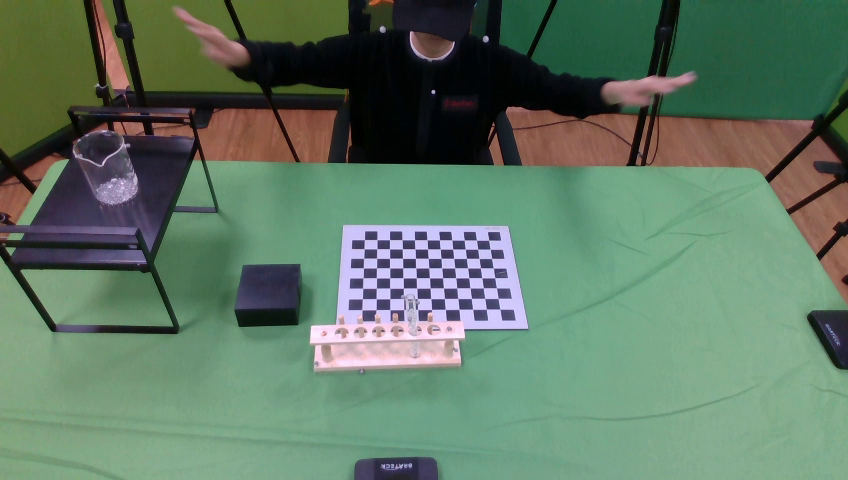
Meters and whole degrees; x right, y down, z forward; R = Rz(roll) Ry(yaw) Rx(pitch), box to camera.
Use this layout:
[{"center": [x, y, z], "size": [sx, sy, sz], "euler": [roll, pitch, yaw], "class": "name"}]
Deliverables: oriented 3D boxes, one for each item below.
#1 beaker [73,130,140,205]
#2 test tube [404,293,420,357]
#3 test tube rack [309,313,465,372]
[{"center": [-0.500, -0.110, 0.963], "size": [0.074, 0.101, 0.083], "euler": [-14, 49, -16], "class": "beaker"}, {"center": [-0.018, 0.136, 0.947], "size": [0.017, 0.151, 0.017], "euler": [-2, 45, 2], "class": "test tube"}, {"center": [-0.059, 0.161, 0.990], "size": [0.242, 0.085, 0.066], "euler": [-1, 46, -5], "class": "test tube rack"}]
